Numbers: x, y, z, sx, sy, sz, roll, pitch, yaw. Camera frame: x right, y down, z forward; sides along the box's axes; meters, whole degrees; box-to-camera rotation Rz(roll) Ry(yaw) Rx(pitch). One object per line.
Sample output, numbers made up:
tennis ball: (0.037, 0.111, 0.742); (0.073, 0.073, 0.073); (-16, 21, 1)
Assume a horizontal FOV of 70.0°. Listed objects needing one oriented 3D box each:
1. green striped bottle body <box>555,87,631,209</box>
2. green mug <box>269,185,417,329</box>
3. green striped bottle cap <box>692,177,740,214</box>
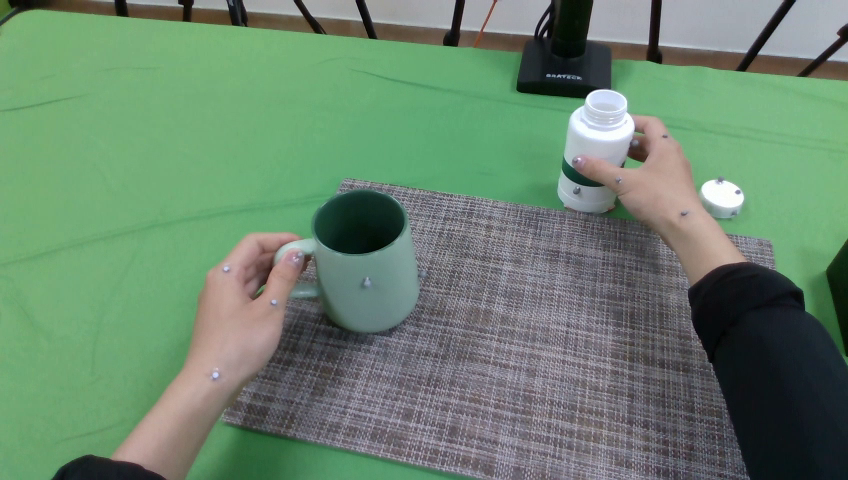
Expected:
green striped bottle body: (0.171, -0.094, 0.617); (0.063, 0.120, 0.062); (-1, 48, 2)
green mug: (-0.070, 0.020, 0.524); (0.125, 0.106, 0.091); (-11, 48, -8)
green striped bottle cap: (0.308, -0.047, 0.640); (0.044, 0.020, 0.044); (1, 44, 0)
